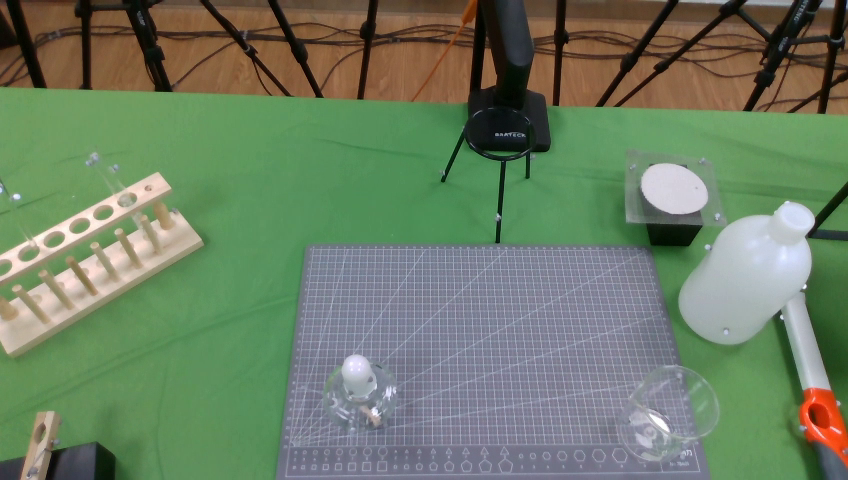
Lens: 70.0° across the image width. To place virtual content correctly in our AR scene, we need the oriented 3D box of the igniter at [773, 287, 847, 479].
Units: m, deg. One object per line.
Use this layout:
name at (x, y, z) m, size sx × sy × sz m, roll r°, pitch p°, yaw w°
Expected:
igniter at (0.435, 0.172, 0.676) m, size 0.057 × 0.025 × 0.274 m, roll 10°, pitch 55°, yaw -7°

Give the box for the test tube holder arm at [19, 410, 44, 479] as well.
test tube holder arm at (-0.367, 0.205, 0.569) m, size 0.010 × 0.015 × 0.087 m, roll -7°, pitch 60°, yaw 2°

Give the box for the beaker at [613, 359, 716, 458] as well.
beaker at (0.237, 0.176, 0.619) m, size 0.084 × 0.101 × 0.073 m, roll 5°, pitch 55°, yaw 3°

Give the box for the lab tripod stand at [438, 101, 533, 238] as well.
lab tripod stand at (0.088, -0.098, 0.783) m, size 0.148 × 0.132 × 0.147 m, roll 2°, pitch 57°, yaw -3°

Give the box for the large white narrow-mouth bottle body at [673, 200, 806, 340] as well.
large white narrow-mouth bottle body at (0.355, 0.027, 0.670) m, size 0.102 × 0.196 × 0.101 m, roll 1°, pitch 55°, yaw -1°

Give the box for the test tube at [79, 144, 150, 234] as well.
test tube at (-0.356, -0.055, 0.705) m, size 0.017 × 0.151 × 0.017 m, roll -2°, pitch 55°, yaw 3°

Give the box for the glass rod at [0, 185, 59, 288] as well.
glass rod at (-0.430, -0.008, 0.650) m, size 0.008 × 0.201 × 0.008 m, roll 3°, pitch 47°, yaw -3°

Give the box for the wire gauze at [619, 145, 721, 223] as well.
wire gauze at (0.317, -0.073, 0.791) m, size 0.121 × 0.011 × 0.124 m, roll 7°, pitch 55°, yaw 3°

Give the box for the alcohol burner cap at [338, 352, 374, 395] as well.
alcohol burner cap at (-0.068, 0.127, 0.588) m, size 0.034 × 0.048 × 0.033 m, roll -2°, pitch 55°, yaw 3°

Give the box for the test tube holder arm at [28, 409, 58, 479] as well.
test tube holder arm at (-0.357, 0.243, 0.546) m, size 0.013 × 0.015 × 0.176 m, roll -8°, pitch 60°, yaw 2°

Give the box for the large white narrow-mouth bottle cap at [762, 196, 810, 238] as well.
large white narrow-mouth bottle cap at (0.358, -0.023, 0.600) m, size 0.038 × 0.024 × 0.037 m, roll 1°, pitch 55°, yaw -1°

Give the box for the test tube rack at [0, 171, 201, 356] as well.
test tube rack at (-0.397, 0.024, 0.709) m, size 0.242 × 0.086 × 0.066 m, roll -35°, pitch 64°, yaw -23°

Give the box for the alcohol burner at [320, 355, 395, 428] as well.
alcohol burner at (-0.068, 0.147, 0.618) m, size 0.078 × 0.120 × 0.077 m, roll 2°, pitch 54°, yaw -3°
